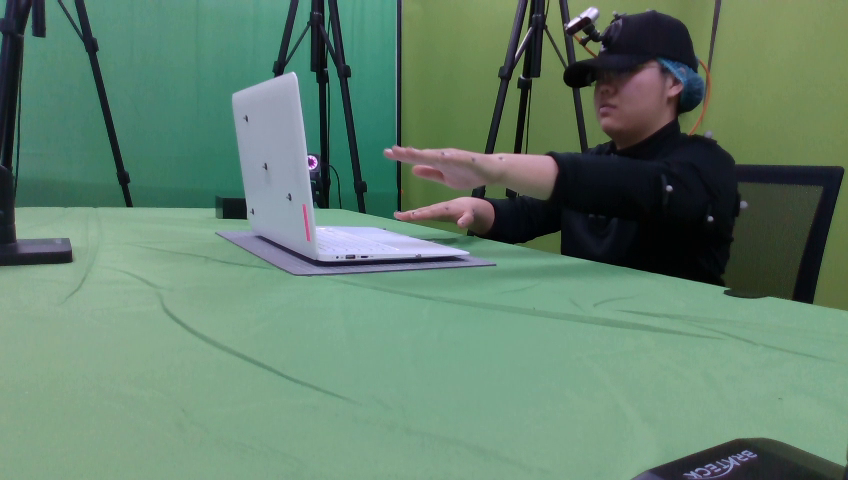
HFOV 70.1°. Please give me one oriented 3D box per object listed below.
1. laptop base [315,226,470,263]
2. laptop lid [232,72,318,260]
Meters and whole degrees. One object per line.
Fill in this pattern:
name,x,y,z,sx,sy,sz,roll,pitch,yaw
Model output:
laptop base,-0.117,0.005,0.970,0.237,0.023,0.352,2,6,-30
laptop lid,-0.229,-0.109,0.888,0.013,0.241,0.355,-10,14,-28
